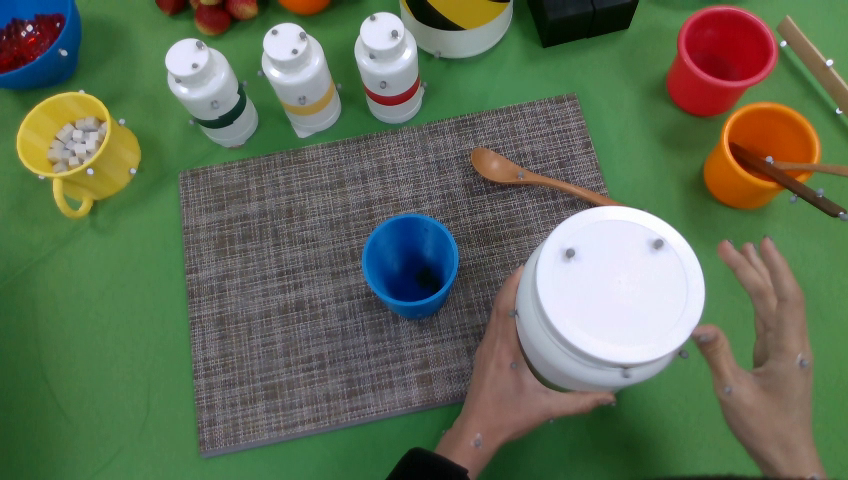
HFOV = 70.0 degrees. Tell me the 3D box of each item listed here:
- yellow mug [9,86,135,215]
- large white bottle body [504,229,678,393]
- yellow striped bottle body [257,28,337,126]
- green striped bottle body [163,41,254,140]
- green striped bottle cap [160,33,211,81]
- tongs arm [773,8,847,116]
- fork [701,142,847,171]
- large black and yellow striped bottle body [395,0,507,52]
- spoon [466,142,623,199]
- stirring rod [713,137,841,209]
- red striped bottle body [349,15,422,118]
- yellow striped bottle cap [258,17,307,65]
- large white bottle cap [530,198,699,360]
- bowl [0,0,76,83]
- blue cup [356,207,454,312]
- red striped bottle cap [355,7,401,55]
[{"bbox_3d":[-0.374,-0.090,0.645,0.100,0.064,0.130,-2,72,1],"label":"yellow mug"},{"bbox_3d":[0.137,0.055,0.507,0.130,0.186,0.129,-1,71,4],"label":"large white bottle body"},{"bbox_3d":[-0.133,-0.176,0.633,0.063,0.121,0.062,-1,71,4],"label":"yellow striped bottle body"},{"bbox_3d":[-0.227,-0.160,0.633,0.063,0.120,0.063,-1,71,3],"label":"green striped bottle body"},{"bbox_3d":[-0.230,-0.176,0.583,0.044,0.020,0.044,-1,71,2],"label":"green striped bottle cap"},{"bbox_3d":[0.494,-0.096,0.622,0.051,0.027,0.382,-24,73,-7],"label":"tongs arm"},{"bbox_3d":[0.354,-0.071,0.561,0.028,0.019,0.205,-50,33,-12],"label":"fork"},{"bbox_3d":[0.027,-0.303,0.634,0.131,0.185,0.130,-1,72,3],"label":"large black and yellow striped bottle body"},{"bbox_3d":[0.135,-0.062,0.632,0.193,0.022,0.041,19,49,8],"label":"spoon"},{"bbox_3d":[0.324,-0.067,0.568,0.014,0.006,0.174,-10,29,-3],"label":"stirring rod"},{"bbox_3d":[-0.040,-0.184,0.632,0.063,0.120,0.062,-2,70,7],"label":"red striped bottle body"},{"bbox_3d":[-0.136,-0.192,0.584,0.044,0.019,0.044,0,73,2],"label":"yellow striped bottle cap"},{"bbox_3d":[0.132,0.026,0.423,0.115,0.018,0.114,0,71,2],"label":"large white bottle cap"},{"bbox_3d":[-0.461,-0.234,0.690,0.151,0.077,0.150,0,72,2],"label":"bowl"},{"bbox_3d":[-0.015,0.027,0.568,0.092,0.101,0.092,0,71,1],"label":"blue cup"},{"bbox_3d":[-0.044,-0.202,0.582,0.044,0.018,0.044,0,70,-1],"label":"red striped bottle cap"}]
